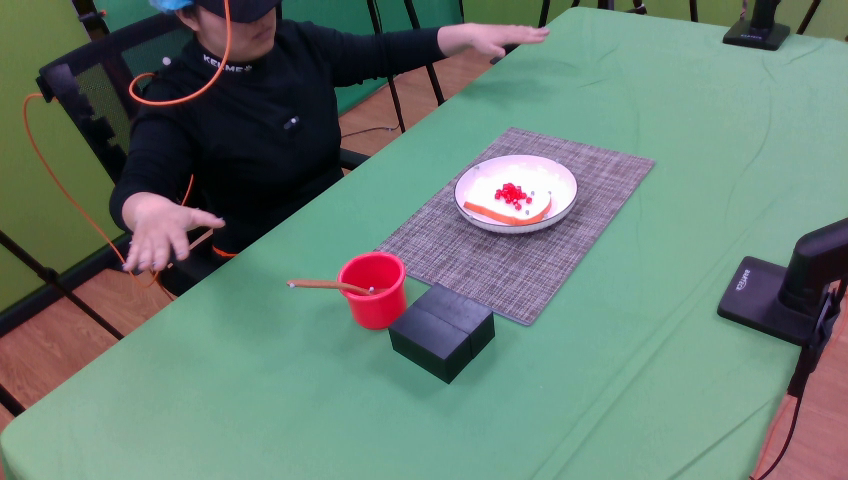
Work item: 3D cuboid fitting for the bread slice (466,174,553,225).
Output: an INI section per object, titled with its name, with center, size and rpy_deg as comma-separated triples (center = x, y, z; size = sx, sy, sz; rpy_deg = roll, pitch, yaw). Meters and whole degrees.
[bread slice]
center = 0.152, -0.067, 1.022
size = 0.130, 0.019, 0.105
rpy_deg = 22, 50, 33

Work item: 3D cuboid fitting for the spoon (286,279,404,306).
[spoon]
center = -0.104, 0.068, 0.832
size = 0.195, 0.021, 0.041
rpy_deg = 17, 21, -43

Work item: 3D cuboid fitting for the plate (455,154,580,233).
[plate]
center = 0.158, -0.076, 1.028
size = 0.209, 0.038, 0.208
rpy_deg = -5, 40, 5
